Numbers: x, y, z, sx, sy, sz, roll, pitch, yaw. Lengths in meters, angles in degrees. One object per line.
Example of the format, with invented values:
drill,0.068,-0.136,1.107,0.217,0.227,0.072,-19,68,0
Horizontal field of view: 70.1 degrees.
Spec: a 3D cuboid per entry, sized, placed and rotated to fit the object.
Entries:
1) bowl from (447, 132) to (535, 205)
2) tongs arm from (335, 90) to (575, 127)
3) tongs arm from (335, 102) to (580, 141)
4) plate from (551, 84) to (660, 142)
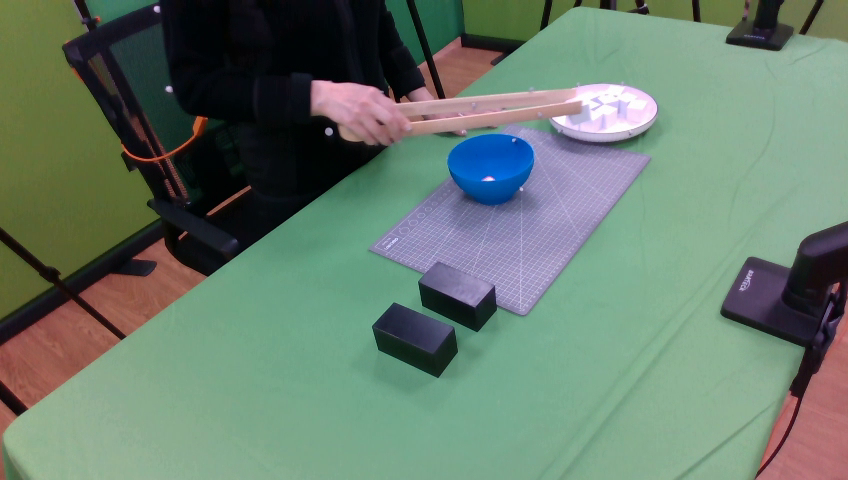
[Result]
bowl,0.119,-0.114,1.051,0.151,0.077,0.150,-6,40,5
tongs arm,0.051,-0.206,0.972,0.385,0.026,0.050,-2,48,4
tongs arm,0.052,-0.189,0.956,0.388,0.028,0.028,-6,51,1
plate,0.355,-0.246,1.195,0.207,0.039,0.206,-5,39,5
